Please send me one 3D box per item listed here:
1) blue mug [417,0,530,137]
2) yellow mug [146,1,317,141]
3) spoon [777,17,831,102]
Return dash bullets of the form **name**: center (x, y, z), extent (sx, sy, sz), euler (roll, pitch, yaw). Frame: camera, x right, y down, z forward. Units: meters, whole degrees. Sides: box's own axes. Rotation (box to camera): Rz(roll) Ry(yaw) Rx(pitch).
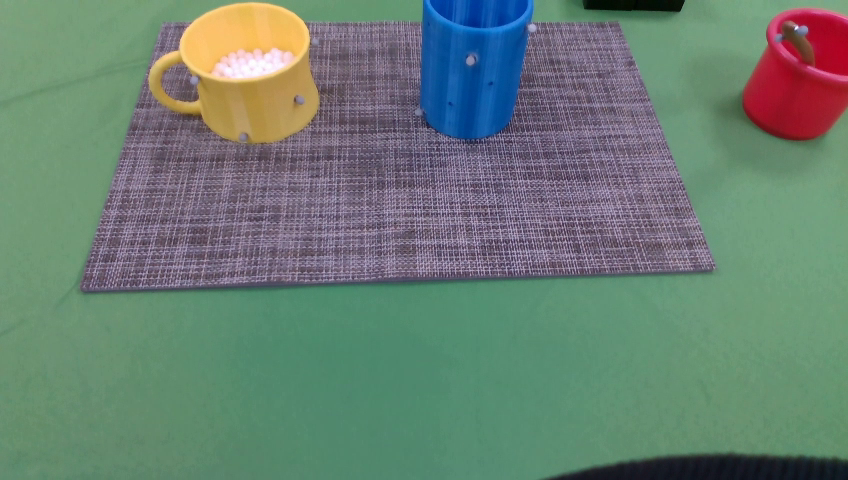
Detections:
- **blue mug**: center (0.047, -0.159, 0.498), extent (0.082, 0.107, 0.116), euler (36, 60, 21)
- **yellow mug**: center (-0.157, -0.135, 0.493), extent (0.131, 0.064, 0.099), euler (-14, 56, -12)
- **spoon**: center (0.300, -0.143, 0.481), extent (0.195, 0.022, 0.041), euler (10, 35, -54)
